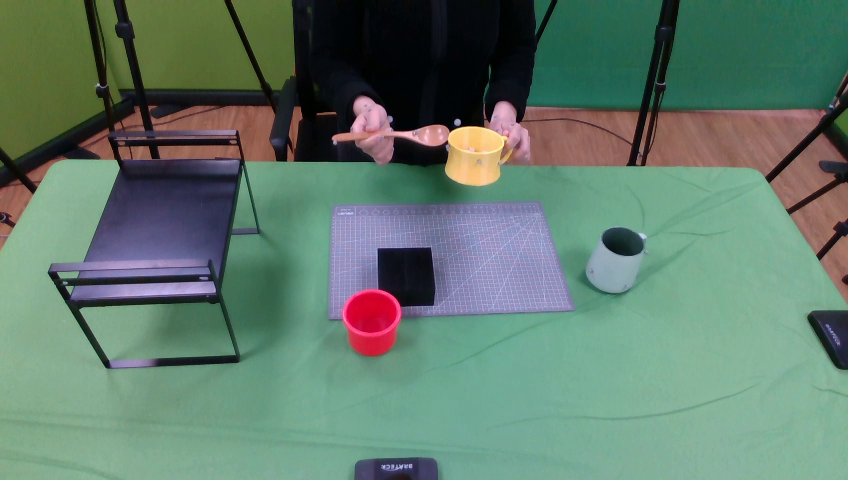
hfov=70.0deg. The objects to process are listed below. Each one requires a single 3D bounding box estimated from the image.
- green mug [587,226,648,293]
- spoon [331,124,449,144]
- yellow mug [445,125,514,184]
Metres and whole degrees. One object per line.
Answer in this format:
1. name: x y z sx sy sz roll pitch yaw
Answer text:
1. green mug: 0.372 0.030 1.136 0.125 0.105 0.092 -27 53 -26
2. spoon: -0.053 -0.171 0.977 0.194 0.022 0.041 -2 61 -18
3. yellow mug: 0.103 -0.155 1.068 0.131 0.064 0.099 -14 40 -23
